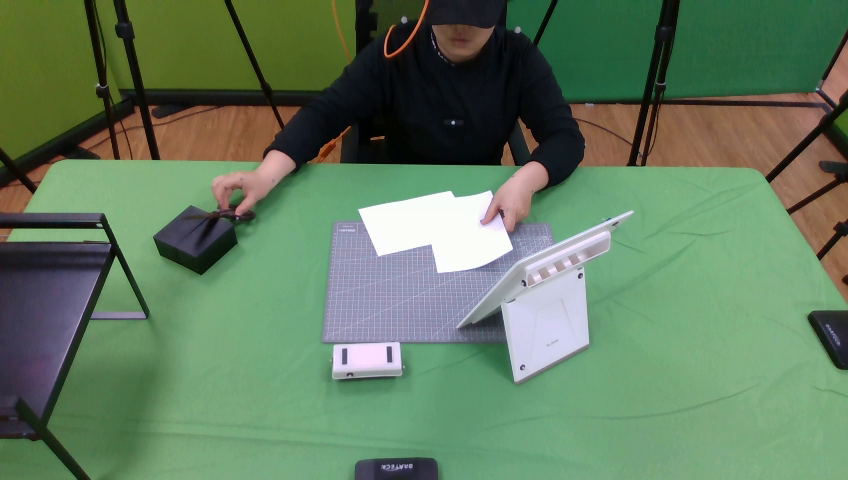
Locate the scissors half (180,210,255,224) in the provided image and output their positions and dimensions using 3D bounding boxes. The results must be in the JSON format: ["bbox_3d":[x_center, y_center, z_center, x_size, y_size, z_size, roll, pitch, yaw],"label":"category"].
[{"bbox_3d":[-0.391,-0.042,1.155,0.040,0.013,0.175,39,22,24],"label":"scissors half"}]

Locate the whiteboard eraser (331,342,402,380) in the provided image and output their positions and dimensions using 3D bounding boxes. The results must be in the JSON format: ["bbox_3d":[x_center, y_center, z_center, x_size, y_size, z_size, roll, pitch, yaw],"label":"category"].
[{"bbox_3d":[-0.094,0.198,0.986,0.113,0.042,0.055,-2,44,-6],"label":"whiteboard eraser"}]

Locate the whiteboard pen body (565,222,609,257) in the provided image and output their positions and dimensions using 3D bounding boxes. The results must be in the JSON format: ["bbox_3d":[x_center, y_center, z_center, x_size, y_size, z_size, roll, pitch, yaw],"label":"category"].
[{"bbox_3d":[0.334,-0.004,1.229,0.141,0.017,0.017,-33,56,-29],"label":"whiteboard pen body"}]

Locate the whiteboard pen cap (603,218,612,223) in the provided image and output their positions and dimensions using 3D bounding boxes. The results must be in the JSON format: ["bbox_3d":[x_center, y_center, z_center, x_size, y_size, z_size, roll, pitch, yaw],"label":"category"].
[{"bbox_3d":[0.378,-0.031,1.255,0.033,0.018,0.018,-34,57,-30],"label":"whiteboard pen cap"}]

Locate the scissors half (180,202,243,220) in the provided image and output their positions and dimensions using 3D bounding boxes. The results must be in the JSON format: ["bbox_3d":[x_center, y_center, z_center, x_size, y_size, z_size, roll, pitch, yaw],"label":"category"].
[{"bbox_3d":[-0.407,-0.053,1.161,0.040,0.013,0.175,27,18,10],"label":"scissors half"}]

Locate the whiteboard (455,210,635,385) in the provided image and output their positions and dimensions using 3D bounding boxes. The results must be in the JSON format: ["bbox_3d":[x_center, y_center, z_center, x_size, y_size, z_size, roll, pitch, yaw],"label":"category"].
[{"bbox_3d":[0.211,0.111,0.955,0.217,0.306,0.143,-21,71,-23],"label":"whiteboard"}]
